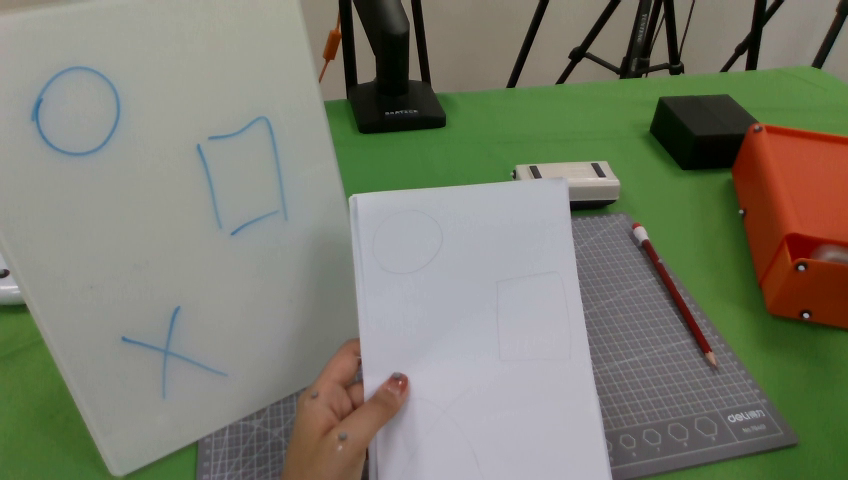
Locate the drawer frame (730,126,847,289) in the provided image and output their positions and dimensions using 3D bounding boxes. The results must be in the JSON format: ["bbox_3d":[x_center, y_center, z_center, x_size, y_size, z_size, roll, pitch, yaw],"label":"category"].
[{"bbox_3d":[0.447,-0.024,0.635,0.201,0.083,0.212,10,40,9],"label":"drawer frame"}]

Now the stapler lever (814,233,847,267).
[{"bbox_3d":[0.423,0.030,0.559,0.117,0.040,0.026,24,62,17],"label":"stapler lever"}]

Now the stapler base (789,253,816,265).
[{"bbox_3d":[0.423,0.045,0.581,0.130,0.024,0.041,24,62,18],"label":"stapler base"}]

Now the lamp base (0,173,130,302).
[{"bbox_3d":[-0.383,-0.061,0.547,0.178,0.182,0.160,20,43,22],"label":"lamp base"}]

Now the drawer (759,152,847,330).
[{"bbox_3d":[0.439,0.001,0.607,0.194,0.074,0.210,10,40,10],"label":"drawer"}]

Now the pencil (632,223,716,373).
[{"bbox_3d":[0.240,0.049,0.588,0.012,0.012,0.192,-3,43,-6],"label":"pencil"}]

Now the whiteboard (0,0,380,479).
[{"bbox_3d":[-0.185,-0.022,0.462,0.217,0.307,0.142,-22,27,-25],"label":"whiteboard"}]

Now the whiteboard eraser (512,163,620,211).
[{"bbox_3d":[0.161,-0.060,0.692,0.113,0.042,0.055,-2,41,-6],"label":"whiteboard eraser"}]
